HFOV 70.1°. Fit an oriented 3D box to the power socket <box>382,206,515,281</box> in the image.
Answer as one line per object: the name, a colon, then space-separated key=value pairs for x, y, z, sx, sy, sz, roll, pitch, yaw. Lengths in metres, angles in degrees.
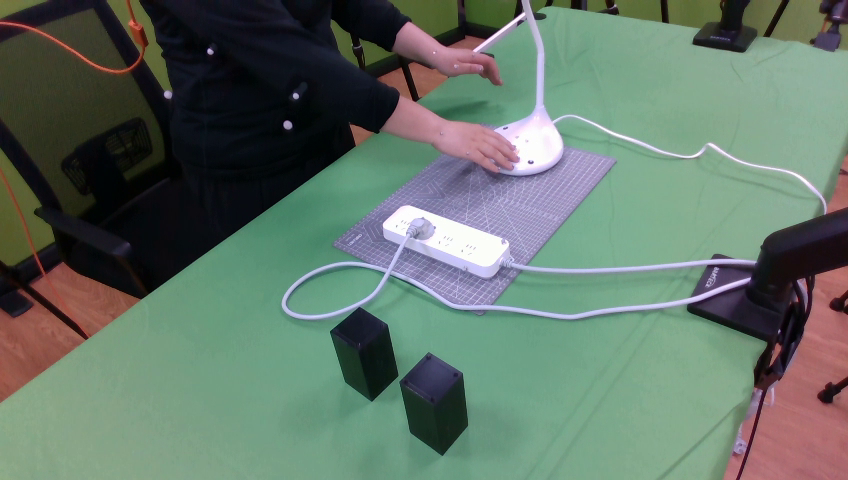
power socket: x=0.032 y=0.002 z=0.950 sx=0.225 sy=0.033 sz=0.072 roll=21 pitch=49 yaw=29

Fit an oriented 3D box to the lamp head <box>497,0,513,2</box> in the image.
lamp head: x=0.120 y=-0.420 z=0.861 sx=0.111 sy=0.113 sz=0.123 roll=24 pitch=72 yaw=32

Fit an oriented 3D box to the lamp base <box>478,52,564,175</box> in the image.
lamp base: x=0.181 y=-0.236 z=1.095 sx=0.159 sy=0.181 sz=0.179 roll=20 pitch=45 yaw=28

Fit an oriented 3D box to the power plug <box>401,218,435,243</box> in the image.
power plug: x=-0.015 y=-0.006 z=0.937 sx=0.073 sy=0.053 sz=0.035 roll=-37 pitch=47 yaw=-26
